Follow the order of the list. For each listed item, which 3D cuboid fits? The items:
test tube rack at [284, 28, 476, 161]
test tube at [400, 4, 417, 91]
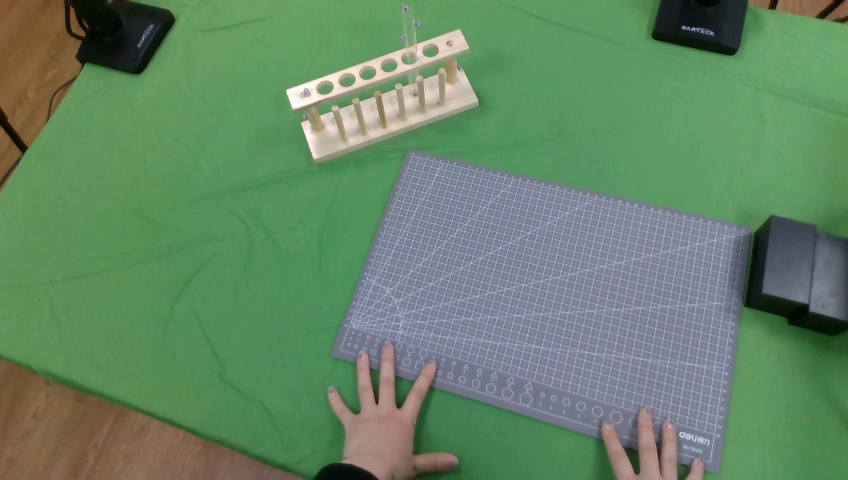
[{"bbox_3d":[-0.054,-0.194,0.816,0.242,0.086,0.066,-20,67,-4],"label":"test tube rack"},{"bbox_3d":[-0.019,-0.242,0.780,0.017,0.151,0.017,-1,66,2],"label":"test tube"}]
